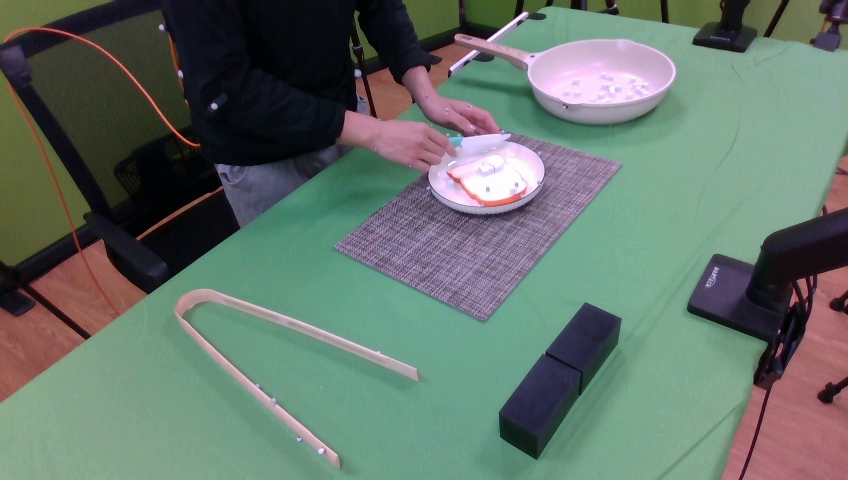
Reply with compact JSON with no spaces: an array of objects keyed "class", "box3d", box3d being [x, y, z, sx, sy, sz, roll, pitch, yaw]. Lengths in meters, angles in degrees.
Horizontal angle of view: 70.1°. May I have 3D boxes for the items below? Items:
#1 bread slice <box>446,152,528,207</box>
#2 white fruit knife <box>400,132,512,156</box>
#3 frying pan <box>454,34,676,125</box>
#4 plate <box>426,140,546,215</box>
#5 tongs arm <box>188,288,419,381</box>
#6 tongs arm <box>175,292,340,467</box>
[{"class":"bread slice","box3d":[0.117,-0.104,1.057,0.107,0.018,0.133,-24,42,-18]},{"class":"white fruit knife","box3d":[0.059,-0.172,1.057,0.208,0.027,0.016,-10,45,-17]},{"class":"frying pan","box3d":[0.277,-0.370,1.295,0.485,0.103,0.307,26,49,22]},{"class":"plate","box3d":[0.109,-0.107,1.058,0.207,0.039,0.206,-4,41,4]},{"class":"tongs arm","box3d":[-0.177,0.126,0.842,0.385,0.028,0.028,15,48,24]},{"class":"tongs arm","box3d":[-0.225,0.169,0.793,0.381,0.026,0.051,25,49,33]}]
